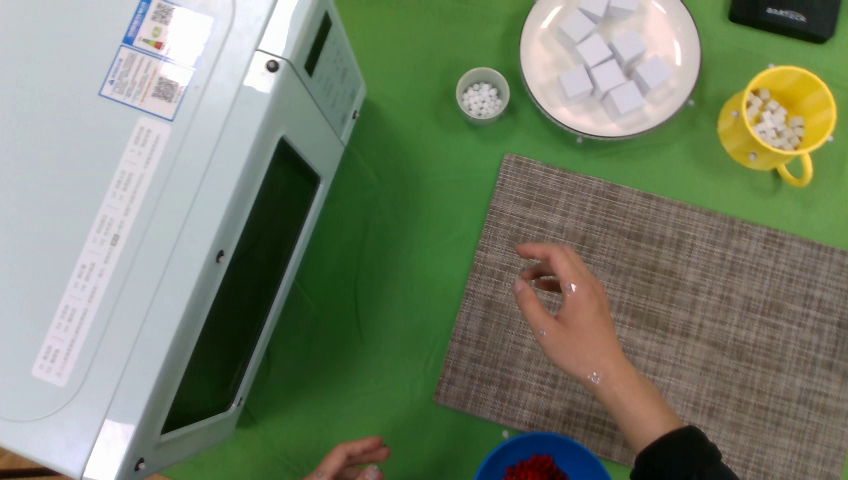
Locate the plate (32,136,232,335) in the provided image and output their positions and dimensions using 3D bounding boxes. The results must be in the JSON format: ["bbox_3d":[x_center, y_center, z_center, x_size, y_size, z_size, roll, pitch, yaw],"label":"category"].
[{"bbox_3d":[-0.303,-0.004,0.643,0.209,0.038,0.208,0,86,2],"label":"plate"}]

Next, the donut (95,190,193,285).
[{"bbox_3d":[-0.289,-0.003,0.629,0.099,0.048,0.099,0,89,2],"label":"donut"}]

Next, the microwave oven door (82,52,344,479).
[{"bbox_3d":[-0.177,0.030,0.578,0.039,0.244,0.355,20,84,6],"label":"microwave oven door"}]

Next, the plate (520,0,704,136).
[{"bbox_3d":[0.216,-0.219,0.711,0.207,0.039,0.207,0,83,3],"label":"plate"}]

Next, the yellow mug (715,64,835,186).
[{"bbox_3d":[0.396,-0.123,0.678,0.100,0.064,0.130,-20,84,0],"label":"yellow mug"}]

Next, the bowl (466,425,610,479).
[{"bbox_3d":[0.116,0.266,0.639,0.151,0.077,0.151,0,83,3],"label":"bowl"}]

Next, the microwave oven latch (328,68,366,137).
[{"bbox_3d":[-0.093,-0.162,0.698,0.030,0.029,0.079,24,86,5],"label":"microwave oven latch"}]

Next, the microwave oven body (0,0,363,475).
[{"bbox_3d":[-0.298,-0.059,0.598,0.326,0.261,0.441,20,85,4],"label":"microwave oven body"}]

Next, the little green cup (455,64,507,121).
[{"bbox_3d":[0.067,-0.169,0.710,0.061,0.039,0.061,0,85,4],"label":"little green cup"}]
